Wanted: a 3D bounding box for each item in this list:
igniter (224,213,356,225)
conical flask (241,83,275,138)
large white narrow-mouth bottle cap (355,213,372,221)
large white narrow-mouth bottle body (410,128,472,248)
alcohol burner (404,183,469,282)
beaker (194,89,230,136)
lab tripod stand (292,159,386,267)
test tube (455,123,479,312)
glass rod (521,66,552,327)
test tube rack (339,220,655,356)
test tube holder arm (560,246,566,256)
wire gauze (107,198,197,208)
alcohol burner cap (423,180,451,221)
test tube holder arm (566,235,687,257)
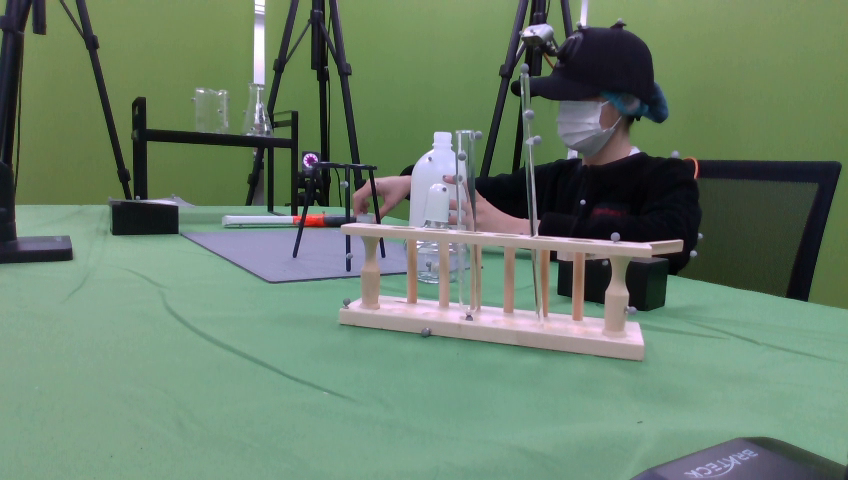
[{"bbox_3d":[-0.255,-0.041,1.210,0.278,0.025,0.057,-2,-2,-31],"label":"igniter"},{"bbox_3d":[-0.383,-0.297,1.392,0.075,0.122,0.075,2,7,0],"label":"conical flask"},{"bbox_3d":[-0.117,-0.040,1.179,0.038,0.024,0.037,2,8,0],"label":"large white narrow-mouth bottle cap"},{"bbox_3d":[0.030,-0.088,1.005,0.102,0.194,0.102,2,8,0],"label":"large white narrow-mouth bottle body"},{"bbox_3d":[0.015,-0.011,0.715,0.078,0.119,0.078,0,7,0],"label":"alcohol burner"},{"bbox_3d":[-0.472,-0.283,1.352,0.074,0.100,0.083,-4,10,-35],"label":"beaker"},{"bbox_3d":[-0.105,-0.039,0.798,0.148,0.131,0.148,2,5,0],"label":"lab tripod stand"},{"bbox_3d":[0.034,-0.016,0.476,0.017,0.150,0.017,-2,10,1],"label":"test tube"},{"bbox_3d":[0.085,-0.028,0.454,0.008,0.199,0.008,-7,10,2],"label":"glass rod"},{"bbox_3d":[0.056,0.032,0.495,0.242,0.085,0.067,4,7,15],"label":"test tube rack"},{"bbox_3d":[0.173,0.007,0.611,0.088,0.015,0.010,-3,9,-30],"label":"test tube holder arm"},{"bbox_3d":[-0.462,-0.064,1.023,0.126,0.011,0.121,-2,7,-32],"label":"wire gauze"},{"bbox_3d":[0.017,-0.047,0.711,0.034,0.048,0.034,8,5,0],"label":"alcohol burner cap"},{"bbox_3d":[0.215,0.006,0.630,0.179,0.015,0.013,-3,9,-30],"label":"test tube holder arm"}]
